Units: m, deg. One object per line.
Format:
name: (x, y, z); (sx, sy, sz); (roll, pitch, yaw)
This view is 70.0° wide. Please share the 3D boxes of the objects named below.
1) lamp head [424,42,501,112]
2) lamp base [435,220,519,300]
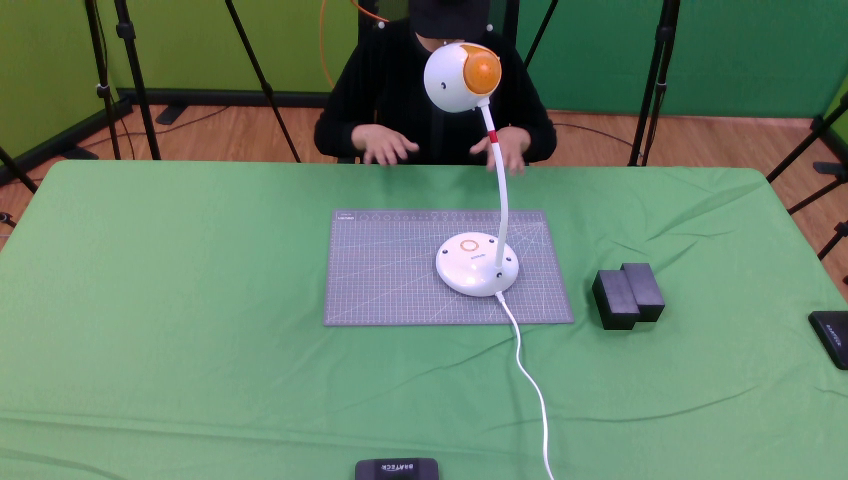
lamp head: (0.071, -0.258, 0.962); (0.112, 0.113, 0.122); (-16, 19, -18)
lamp base: (0.112, -0.002, 1.096); (0.161, 0.181, 0.178); (-22, 54, -23)
